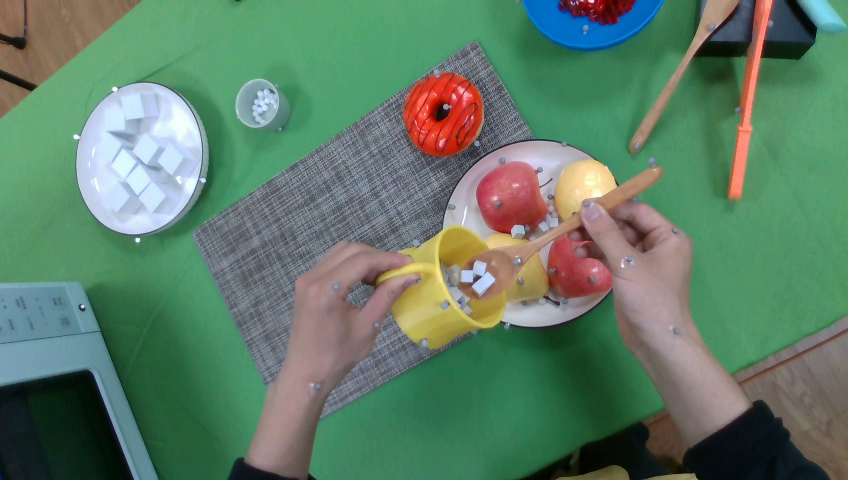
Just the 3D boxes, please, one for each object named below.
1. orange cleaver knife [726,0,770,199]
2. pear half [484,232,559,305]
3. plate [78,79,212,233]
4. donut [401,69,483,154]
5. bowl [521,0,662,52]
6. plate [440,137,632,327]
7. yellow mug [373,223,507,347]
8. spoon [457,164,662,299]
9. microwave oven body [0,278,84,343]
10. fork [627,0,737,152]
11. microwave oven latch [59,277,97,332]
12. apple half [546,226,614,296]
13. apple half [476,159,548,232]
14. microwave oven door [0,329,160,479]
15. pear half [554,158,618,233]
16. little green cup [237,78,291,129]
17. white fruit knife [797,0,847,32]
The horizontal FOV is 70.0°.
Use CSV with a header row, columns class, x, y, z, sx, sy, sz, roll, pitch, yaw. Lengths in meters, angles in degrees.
class,x,y,z,sx,sy,sz,roll,pitch,yaw
orange cleaver knife,0.321,-0.147,0.601,0.012,0.077,0.213,7,116,21
pear half,0.103,0.039,0.665,0.109,0.056,0.076,33,102,10
plate,-0.375,-0.112,0.826,0.207,0.039,0.207,-1,89,16
donut,0.021,-0.149,0.705,0.099,0.048,0.099,0,90,19
bowl,0.181,-0.267,0.648,0.151,0.077,0.151,0,89,16
plate,0.122,-0.008,0.675,0.208,0.038,0.209,-1,88,16
yellow mug,0.011,0.039,0.545,0.064,0.132,0.099,-28,63,35
spoon,0.109,-0.006,0.505,0.194,0.022,0.041,-33,81,24
microwave oven body,-0.558,0.311,0.748,0.326,0.261,0.440,-28,82,13
fork,0.263,-0.180,0.617,0.028,0.018,0.208,28,117,7
microwave oven latch,-0.481,0.090,0.832,0.030,0.029,0.079,-26,82,13
apple half,0.158,0.025,0.645,0.081,0.033,0.081,7,102,36
apple half,0.094,-0.048,0.666,0.074,0.053,0.080,-13,88,16
microwave oven door,-0.417,0.282,0.703,0.039,0.245,0.354,-28,81,13
pear half,0.168,-0.043,0.648,0.070,0.031,0.088,2,99,40
little green cup,-0.203,-0.172,0.777,0.061,0.039,0.061,-1,88,17
white fruit knife,0.339,-0.285,0.584,0.027,0.016,0.206,-24,79,-15
